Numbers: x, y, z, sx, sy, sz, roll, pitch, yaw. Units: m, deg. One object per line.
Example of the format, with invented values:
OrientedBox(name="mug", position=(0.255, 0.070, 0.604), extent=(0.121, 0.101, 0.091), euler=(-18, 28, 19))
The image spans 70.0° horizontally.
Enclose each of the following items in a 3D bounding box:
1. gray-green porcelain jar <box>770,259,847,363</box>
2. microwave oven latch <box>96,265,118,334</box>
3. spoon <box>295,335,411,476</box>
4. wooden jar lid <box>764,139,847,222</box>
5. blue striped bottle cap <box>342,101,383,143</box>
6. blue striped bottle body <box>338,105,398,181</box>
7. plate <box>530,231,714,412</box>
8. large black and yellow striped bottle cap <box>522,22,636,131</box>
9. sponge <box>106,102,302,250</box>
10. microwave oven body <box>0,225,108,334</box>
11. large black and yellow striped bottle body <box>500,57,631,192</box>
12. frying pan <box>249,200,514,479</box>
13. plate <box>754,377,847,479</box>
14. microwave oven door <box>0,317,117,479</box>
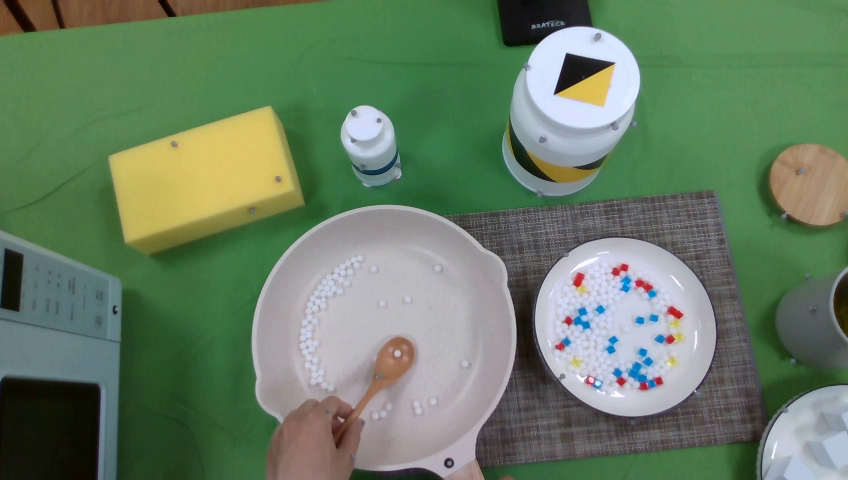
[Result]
OrientedBox(name="gray-green porcelain jar", position=(0.456, 0.081, 0.664), extent=(0.106, 0.127, 0.105), euler=(0, 76, 1))
OrientedBox(name="microwave oven latch", position=(-0.379, 0.070, 0.712), extent=(0.030, 0.029, 0.079), euler=(-3, 77, 0))
OrientedBox(name="spoon", position=(-0.076, 0.176, 0.665), extent=(0.042, 0.021, 0.193), euler=(46, 50, -4))
OrientedBox(name="wooden jar lid", position=(0.478, -0.073, 0.756), extent=(0.108, 0.021, 0.108), euler=(0, 78, 2))
OrientedBox(name="blue striped bottle cap", position=(-0.069, -0.132, 0.678), extent=(0.044, 0.021, 0.044), euler=(-1, 73, 3))
OrientedBox(name="blue striped bottle body", position=(-0.067, -0.120, 0.728), extent=(0.063, 0.121, 0.063), euler=(0, 76, 2))
OrientedBox(name="plate", position=(0.226, 0.093, 0.708), extent=(0.209, 0.038, 0.208), euler=(0, 76, 2))
OrientedBox(name="large black and yellow striped bottle cap", position=(0.157, -0.167, 0.616), extent=(0.115, 0.019, 0.114), euler=(0, 78, 1))
OrientedBox(name="sponge", position=(-0.270, -0.079, 0.754), extent=(0.207, 0.061, 0.117), euler=(-19, 77, -4))
OrientedBox(name="microwave oven body", position=(-0.515, 0.230, 0.577), extent=(0.326, 0.261, 0.439), euler=(-5, 77, 0))
OrientedBox(name="large black and yellow striped bottle body", position=(0.159, -0.144, 0.697), extent=(0.131, 0.185, 0.130), euler=(0, 75, 2))
OrientedBox(name="frying pan", position=(0.002, 0.185, 0.657), extent=(0.307, 0.103, 0.484), euler=(-28, 69, -5))
OrientedBox(name="plate", position=(0.466, 0.256, 0.667), extent=(0.207, 0.039, 0.206), euler=(0, 76, 2))
OrientedBox(name="microwave oven door", position=(-0.367, 0.257, 0.562), extent=(0.039, 0.245, 0.354), euler=(-5, 76, 0))
